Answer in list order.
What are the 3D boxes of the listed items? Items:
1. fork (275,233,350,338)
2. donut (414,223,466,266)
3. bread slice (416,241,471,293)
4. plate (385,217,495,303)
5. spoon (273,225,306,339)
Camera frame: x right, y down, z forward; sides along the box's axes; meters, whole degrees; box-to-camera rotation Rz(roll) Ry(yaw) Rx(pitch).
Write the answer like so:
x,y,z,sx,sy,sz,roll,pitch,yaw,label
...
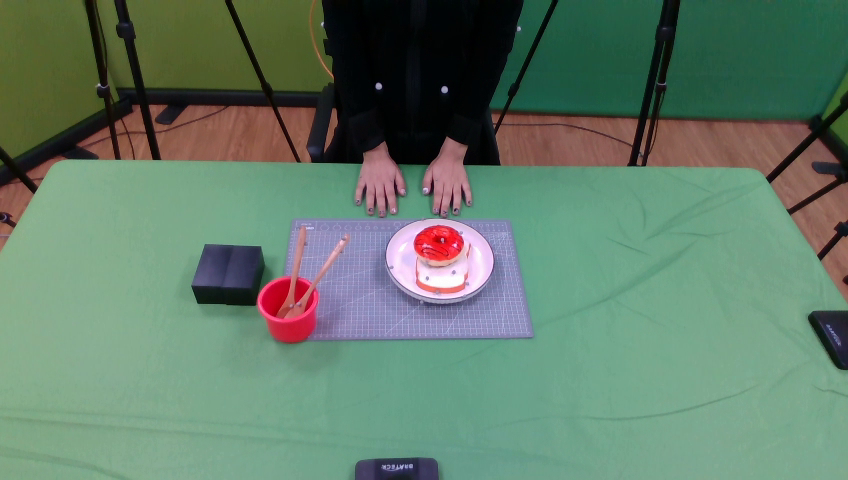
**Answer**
x,y,z,sx,sy,sz,roll,pitch,yaw,label
-0.184,0.075,1.014,0.028,0.018,0.207,35,95,13,fork
0.030,0.007,1.140,0.099,0.048,0.098,0,42,0,donut
0.037,0.046,1.144,0.105,0.019,0.131,4,45,2,bread slice
0.030,0.041,1.145,0.209,0.038,0.208,2,46,-2,plate
-0.220,0.070,1.026,0.041,0.021,0.193,10,91,0,spoon
